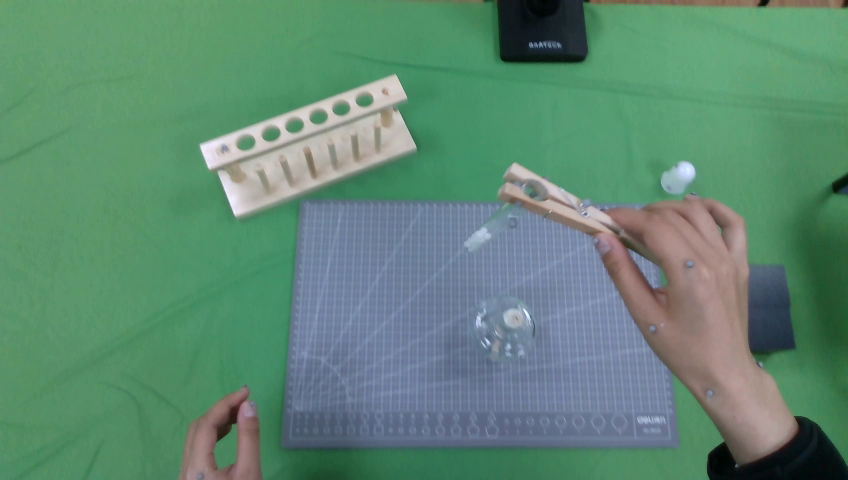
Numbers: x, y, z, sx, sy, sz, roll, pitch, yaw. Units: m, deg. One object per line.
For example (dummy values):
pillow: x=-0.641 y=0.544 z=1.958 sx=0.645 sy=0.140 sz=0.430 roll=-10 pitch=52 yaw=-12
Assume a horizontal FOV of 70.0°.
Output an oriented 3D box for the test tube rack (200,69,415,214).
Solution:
test tube rack: x=-0.133 y=-0.119 z=0.739 sx=0.242 sy=0.085 sz=0.066 roll=-23 pitch=74 yaw=-9

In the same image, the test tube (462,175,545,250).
test tube: x=0.057 y=-0.017 z=0.471 sx=0.017 sy=0.150 sz=0.017 roll=4 pitch=74 yaw=-13

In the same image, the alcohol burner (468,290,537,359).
alcohol burner: x=0.090 y=0.091 z=0.669 sx=0.078 sy=0.119 sz=0.077 roll=1 pitch=74 yaw=-3

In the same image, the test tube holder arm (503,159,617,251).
test tube holder arm: x=0.090 y=-0.023 z=0.402 sx=0.088 sy=0.015 sz=0.010 roll=35 pitch=34 yaw=-8

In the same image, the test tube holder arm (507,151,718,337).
test tube holder arm: x=0.127 y=0.003 z=0.409 sx=0.178 sy=0.015 sz=0.013 roll=41 pitch=34 yaw=0

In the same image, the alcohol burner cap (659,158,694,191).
alcohol burner cap: x=0.325 y=-0.086 z=0.773 sx=0.034 sy=0.048 sz=0.033 roll=0 pitch=72 yaw=-1
